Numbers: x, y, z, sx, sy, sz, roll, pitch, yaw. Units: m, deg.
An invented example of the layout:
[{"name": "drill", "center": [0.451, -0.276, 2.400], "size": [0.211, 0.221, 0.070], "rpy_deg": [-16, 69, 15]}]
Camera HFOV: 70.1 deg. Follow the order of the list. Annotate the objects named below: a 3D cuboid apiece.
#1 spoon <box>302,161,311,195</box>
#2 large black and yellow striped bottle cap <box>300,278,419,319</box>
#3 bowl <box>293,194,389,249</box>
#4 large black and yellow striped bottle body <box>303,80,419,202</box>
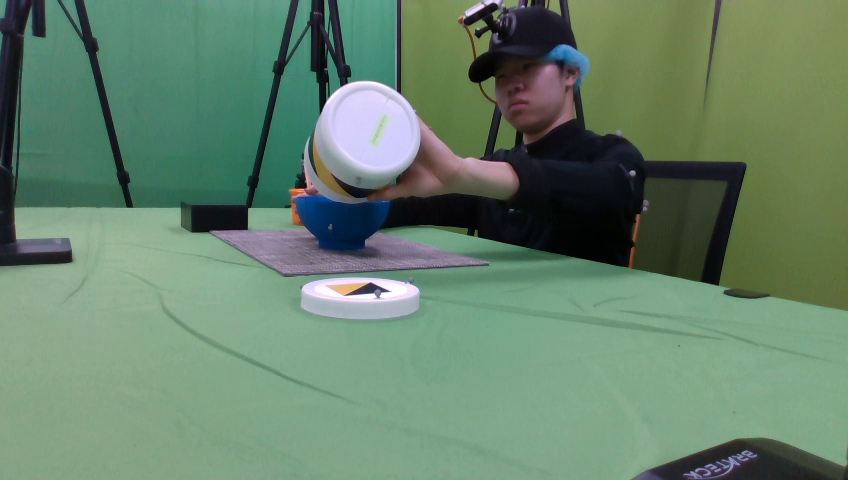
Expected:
[{"name": "spoon", "center": [-0.257, -0.113, 1.341], "size": [0.042, 0.193, 0.021], "rpy_deg": [4, -38, -19]}, {"name": "large black and yellow striped bottle cap", "center": [-0.062, 0.055, 0.588], "size": [0.115, 0.019, 0.115], "rpy_deg": [1, 6, 0]}, {"name": "bowl", "center": [-0.132, -0.030, 0.962], "size": [0.151, 0.077, 0.151], "rpy_deg": [2, 7, 0]}, {"name": "large black and yellow striped bottle body", "center": [-0.095, -0.127, 0.842], "size": [0.131, 0.130, 0.183], "rpy_deg": [0, -10, -21]}]
